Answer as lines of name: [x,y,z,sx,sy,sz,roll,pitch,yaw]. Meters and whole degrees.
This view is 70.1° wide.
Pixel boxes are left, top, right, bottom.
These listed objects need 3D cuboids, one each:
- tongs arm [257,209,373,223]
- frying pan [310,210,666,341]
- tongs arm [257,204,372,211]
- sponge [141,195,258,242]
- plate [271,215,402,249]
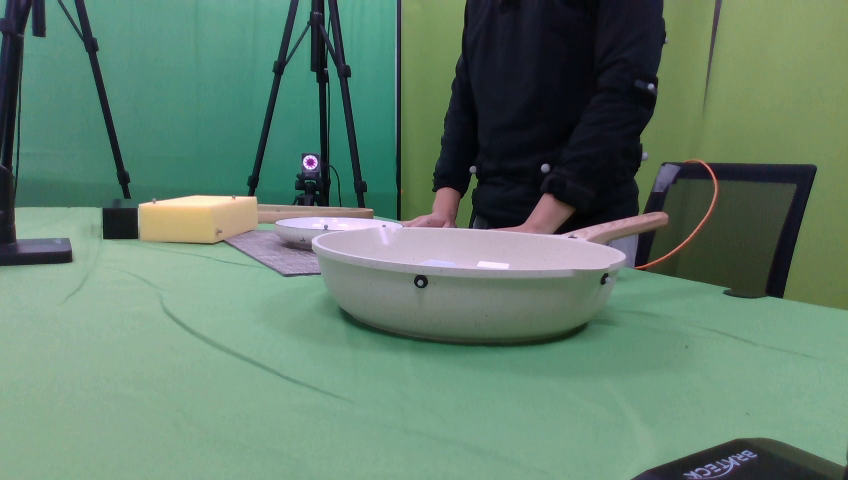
tongs arm: [-0.274,-0.054,1.347,0.390,0.028,0.028,-2,6,-37]
frying pan: [0.120,0.011,0.643,0.490,0.102,0.305,-13,16,-36]
tongs arm: [-0.312,-0.068,1.418,0.387,0.026,0.050,1,8,-24]
sponge: [-0.380,-0.040,1.047,0.118,0.061,0.207,1,8,3]
plate: [-0.141,-0.012,0.978,0.208,0.039,0.207,3,7,0]
